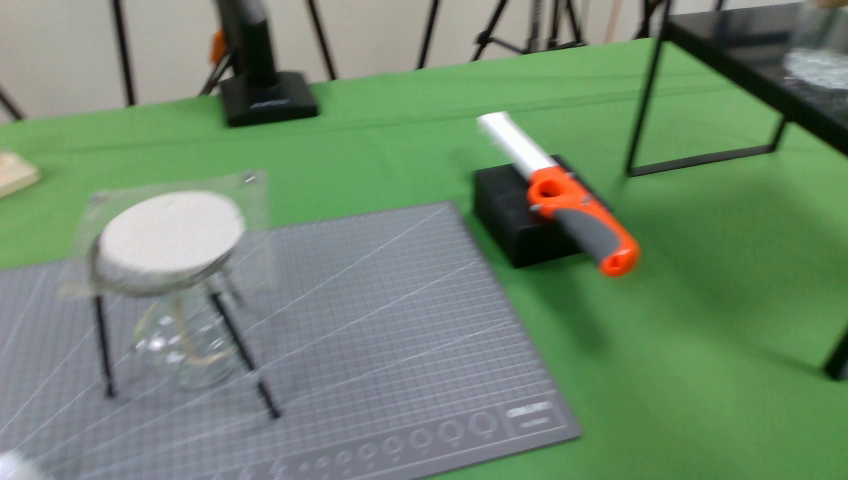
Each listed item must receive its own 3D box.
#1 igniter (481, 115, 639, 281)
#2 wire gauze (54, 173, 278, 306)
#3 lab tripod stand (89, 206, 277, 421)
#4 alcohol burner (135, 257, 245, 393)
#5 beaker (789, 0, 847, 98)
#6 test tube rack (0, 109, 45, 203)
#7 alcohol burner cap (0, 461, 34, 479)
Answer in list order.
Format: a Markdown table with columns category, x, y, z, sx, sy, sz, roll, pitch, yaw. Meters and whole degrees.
| category | x | y | z | sx | sy | sz | roll | pitch | yaw |
| --- | --- | --- | --- | --- | --- | --- | --- | --- | --- |
| igniter | 0.121 | -0.053 | 0.582 | 0.057 | 0.025 | 0.273 | -14 | 40 | -13 |
| wire gauze | -0.160 | -0.003 | 0.395 | 0.125 | 0.011 | 0.120 | -5 | 40 | -11 |
| lab tripod stand | -0.164 | 0.054 | 0.431 | 0.148 | 0.132 | 0.147 | 3 | 39 | -2 |
| alcohol burner | -0.175 | 0.057 | 0.443 | 0.078 | 0.120 | 0.077 | 0 | 42 | 0 |
| beaker | 0.332 | -0.166 | 0.459 | 0.073 | 0.101 | 0.083 | 20 | 44 | 21 |
| test tube rack | -0.518 | -0.049 | 0.584 | 0.066 | 0.086 | 0.242 | 28 | 46 | 27 |
| alcohol burner cap | -0.258 | 0.157 | 0.376 | 0.034 | 0.048 | 0.033 | 2 | 39 | -1 |
